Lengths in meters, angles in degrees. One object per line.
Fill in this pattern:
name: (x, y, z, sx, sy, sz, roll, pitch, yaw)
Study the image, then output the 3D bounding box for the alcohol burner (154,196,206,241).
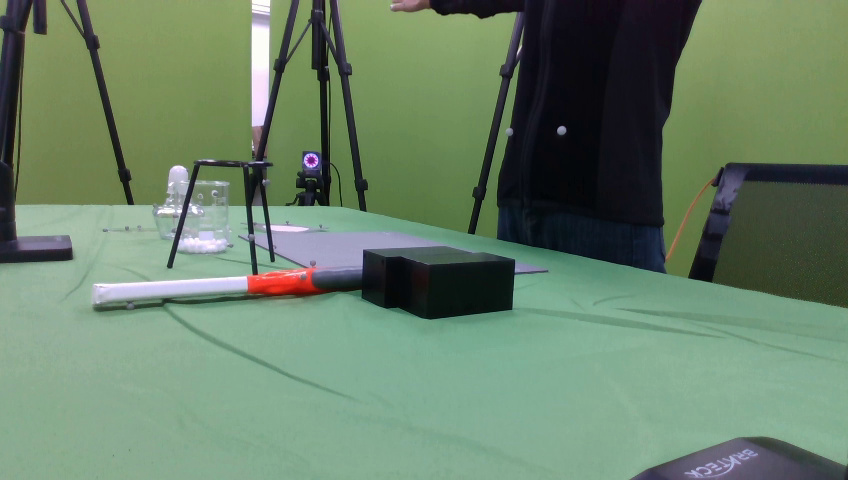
alcohol burner: (-0.393, -0.059, 0.974, 0.078, 0.119, 0.078, 1, 8, 0)

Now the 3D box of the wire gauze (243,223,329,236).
wire gauze: (-0.266, -0.024, 1.156, 0.124, 0.011, 0.122, 12, 12, 40)

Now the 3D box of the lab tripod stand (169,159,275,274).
lab tripod stand: (-0.230, -0.030, 0.724, 0.148, 0.131, 0.148, 1, 9, 0)

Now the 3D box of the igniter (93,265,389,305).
igniter: (-0.164, 0.042, 0.589, 0.278, 0.025, 0.057, -2, -7, -31)

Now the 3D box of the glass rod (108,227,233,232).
glass rod: (-0.437, -0.019, 1.054, 0.201, 0.008, 0.008, -1, 8, -26)

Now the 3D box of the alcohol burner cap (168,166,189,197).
alcohol burner cap: (-0.392, -0.095, 0.970, 0.034, 0.048, 0.034, 8, 7, -1)

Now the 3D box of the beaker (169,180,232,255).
beaker: (-0.313, -0.032, 0.850, 0.084, 0.100, 0.073, -5, 10, -41)
